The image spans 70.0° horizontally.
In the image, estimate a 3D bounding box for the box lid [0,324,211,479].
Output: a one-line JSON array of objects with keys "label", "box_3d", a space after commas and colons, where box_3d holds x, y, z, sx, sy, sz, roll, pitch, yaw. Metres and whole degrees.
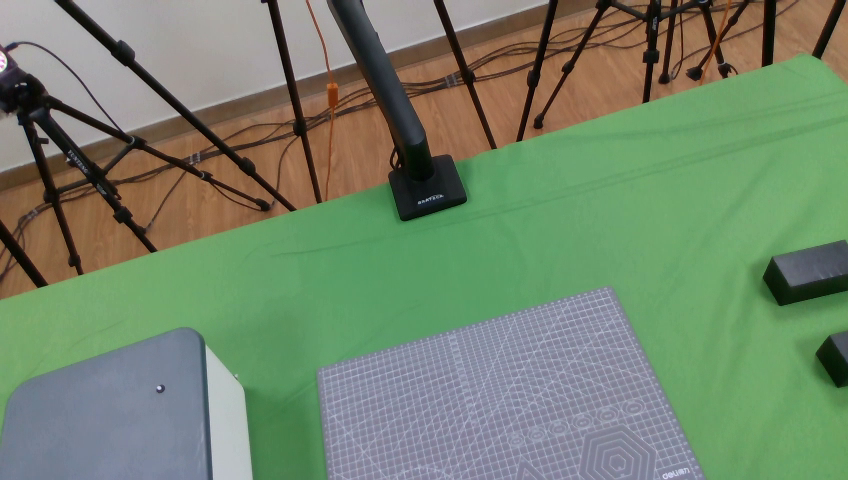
[{"label": "box lid", "box_3d": [-0.365, 0.279, 0.673, 0.263, 0.015, 0.367, -19, 54, -1]}]

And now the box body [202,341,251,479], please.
[{"label": "box body", "box_3d": [-0.352, 0.324, 0.732, 0.254, 0.162, 0.360, -18, 53, -2]}]
